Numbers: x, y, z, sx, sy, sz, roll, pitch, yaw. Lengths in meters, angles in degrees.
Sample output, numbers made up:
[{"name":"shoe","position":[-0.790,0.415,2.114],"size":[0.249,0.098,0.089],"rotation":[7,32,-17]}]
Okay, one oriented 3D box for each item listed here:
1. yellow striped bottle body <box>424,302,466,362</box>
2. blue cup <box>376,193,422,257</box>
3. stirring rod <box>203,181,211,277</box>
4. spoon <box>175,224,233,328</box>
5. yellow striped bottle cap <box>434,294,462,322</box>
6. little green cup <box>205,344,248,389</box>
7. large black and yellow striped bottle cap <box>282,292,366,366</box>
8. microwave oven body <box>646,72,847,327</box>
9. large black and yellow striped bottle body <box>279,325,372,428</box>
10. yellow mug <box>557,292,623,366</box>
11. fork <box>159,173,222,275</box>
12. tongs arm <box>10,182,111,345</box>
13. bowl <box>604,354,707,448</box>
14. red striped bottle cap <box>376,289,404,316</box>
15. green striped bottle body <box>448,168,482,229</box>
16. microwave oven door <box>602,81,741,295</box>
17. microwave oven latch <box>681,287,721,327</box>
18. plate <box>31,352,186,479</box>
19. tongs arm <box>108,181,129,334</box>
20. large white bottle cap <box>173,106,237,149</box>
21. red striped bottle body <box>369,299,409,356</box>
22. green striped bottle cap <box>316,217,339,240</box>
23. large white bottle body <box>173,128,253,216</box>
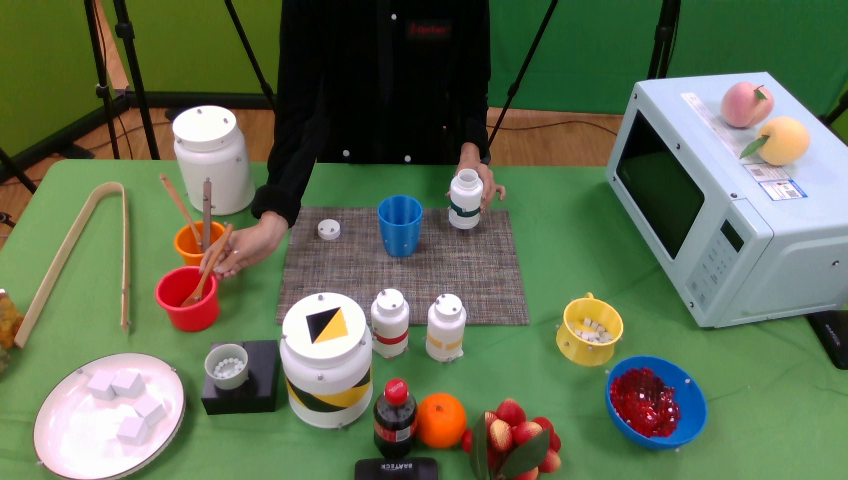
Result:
[{"name":"yellow striped bottle body","position":[0.035,0.143,0.995],"size":[0.063,0.121,0.062],"rotation":[3,46,-2]},{"name":"blue cup","position":[-0.048,-0.022,1.155],"size":[0.093,0.101,0.092],"rotation":[1,47,-1]},{"name":"stirring rod","position":[-0.396,-0.021,1.108],"size":[0.014,0.006,0.176],"rotation":[-1,89,-2]},{"name":"spoon","position":[-0.369,0.060,1.026],"size":[0.041,0.022,0.193],"rotation":[27,94,15]},{"name":"yellow striped bottle cap","position":[0.038,0.107,0.958],"size":[0.044,0.019,0.044],"rotation":[2,45,-2]},{"name":"little green cup","position":[-0.294,0.191,0.909],"size":[0.061,0.039,0.061],"rotation":[1,47,-1]},{"name":"large black and yellow striped bottle cap","position":[-0.138,0.121,0.841],"size":[0.115,0.019,0.114],"rotation":[3,47,-3]},{"name":"microwave oven body","position":[0.607,-0.089,1.164],"size":[0.326,0.261,0.438],"rotation":[-7,46,-10]},{"name":"large black and yellow striped bottle body","position":[-0.143,0.181,0.900],"size":[0.131,0.185,0.130],"rotation":[2,46,-2]},{"name":"yellow mug","position":[0.285,0.145,1.051],"size":[0.100,0.064,0.130],"rotation":[7,46,4]},{"name":"fork","position":[-0.427,-0.029,1.103],"size":[0.028,0.018,0.207],"rotation":[-31,99,-30]},{"name":"tongs arm","position":[-0.658,0.027,1.109],"size":[0.028,0.028,0.385],"rotation":[-2,45,1]},{"name":"bowl","position":[0.346,0.261,0.937],"size":[0.151,0.077,0.150],"rotation":[2,46,-2]},{"name":"red striped bottle cap","position":[-0.055,0.098,0.958],"size":[0.044,0.018,0.044],"rotation":[0,47,0]},{"name":"green striped bottle body","position":[0.079,-0.082,1.168],"size":[0.063,0.120,0.063],"rotation":[1,50,-1]},{"name":"microwave oven door","position":[0.456,-0.107,1.162],"size":[0.039,0.245,0.353],"rotation":[-6,47,-11]},{"name":"microwave oven latch","position":[0.494,0.119,1.087],"size":[0.030,0.029,0.078],"rotation":[-5,46,-9]},{"name":"plate","position":[-0.459,0.262,0.898],"size":[0.209,0.038,0.208],"rotation":[2,46,-2]},{"name":"tongs arm","position":[-0.571,0.019,1.123],"size":[0.051,0.026,0.382],"rotation":[-10,47,-12]},{"name":"large white bottle cap","position":[-0.411,-0.212,1.138],"size":[0.115,0.018,0.114],"rotation":[2,47,-2]},{"name":"red striped bottle body","position":[-0.059,0.134,0.997],"size":[0.063,0.120,0.062],"rotation":[5,47,-5]},{"name":"green striped bottle cap","position":[-0.192,-0.024,1.203],"size":[0.044,0.020,0.044],"rotation":[1,56,-1]},{"name":"large white bottle body","position":[-0.416,-0.154,1.199],"size":[0.131,0.185,0.130],"rotation":[2,46,-2]}]
